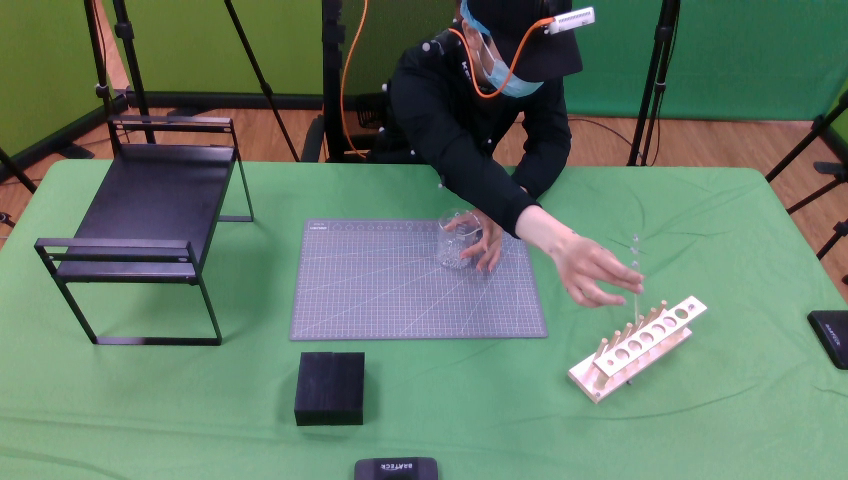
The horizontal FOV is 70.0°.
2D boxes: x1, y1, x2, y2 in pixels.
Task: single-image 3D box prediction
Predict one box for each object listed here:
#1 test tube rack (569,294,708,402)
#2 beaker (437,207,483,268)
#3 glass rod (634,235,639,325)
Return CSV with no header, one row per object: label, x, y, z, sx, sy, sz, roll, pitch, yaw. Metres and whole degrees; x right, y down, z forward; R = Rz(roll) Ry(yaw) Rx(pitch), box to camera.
test tube rack,0.360,0.167,1.015,0.242,0.085,0.066,-25,52,-25
beaker,0.065,-0.002,1.142,0.084,0.101,0.073,7,47,4
glass rod,0.315,0.065,0.899,0.008,0.201,0.008,-10,44,10
